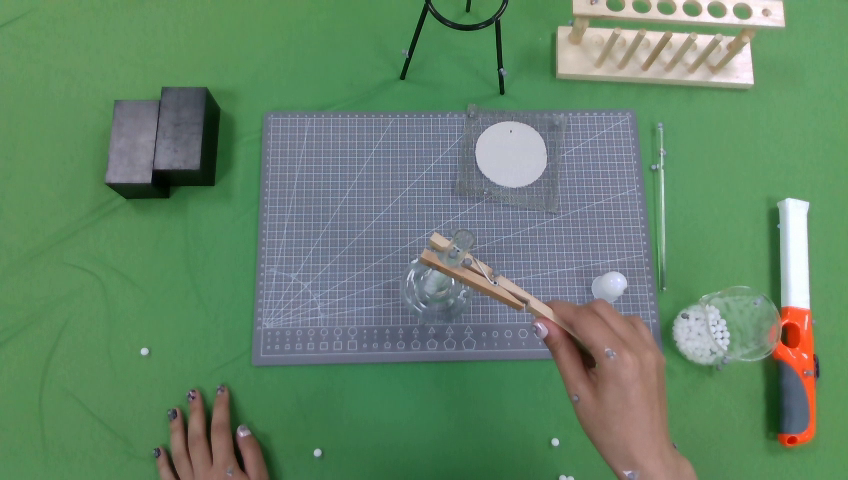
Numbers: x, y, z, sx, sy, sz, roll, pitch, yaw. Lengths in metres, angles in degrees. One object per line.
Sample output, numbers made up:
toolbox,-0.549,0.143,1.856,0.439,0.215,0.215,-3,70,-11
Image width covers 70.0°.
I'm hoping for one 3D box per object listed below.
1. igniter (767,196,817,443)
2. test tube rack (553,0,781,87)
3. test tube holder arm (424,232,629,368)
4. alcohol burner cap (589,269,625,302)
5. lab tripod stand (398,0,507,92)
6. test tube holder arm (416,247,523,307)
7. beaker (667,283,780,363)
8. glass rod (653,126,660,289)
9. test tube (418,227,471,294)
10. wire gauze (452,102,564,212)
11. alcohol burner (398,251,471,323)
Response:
igniter,0.409,0.084,0.676,0.057,0.025,0.275,10,75,-9
test tube rack,0.283,-0.239,0.724,0.242,0.085,0.066,3,75,-1
test tube holder arm,0.078,0.046,0.461,0.178,0.015,0.013,31,76,2
alcohol burner cap,0.204,0.048,0.668,0.034,0.048,0.033,0,76,-1
lab tripod stand,0.038,-0.242,0.692,0.148,0.132,0.147,0,77,-1
test tube holder arm,0.036,0.029,0.461,0.088,0.015,0.010,24,75,0
beaker,0.304,0.089,0.635,0.084,0.101,0.074,30,76,7
glass rod,0.274,-0.041,0.713,0.008,0.008,0.199,5,78,-1
test tube,0.014,0.021,0.483,0.017,0.150,0.017,3,72,-9
wire gauze,0.101,-0.102,0.721,0.125,0.011,0.121,10,77,0
alcohol burner,0.011,0.045,0.626,0.078,0.119,0.077,0,74,0
